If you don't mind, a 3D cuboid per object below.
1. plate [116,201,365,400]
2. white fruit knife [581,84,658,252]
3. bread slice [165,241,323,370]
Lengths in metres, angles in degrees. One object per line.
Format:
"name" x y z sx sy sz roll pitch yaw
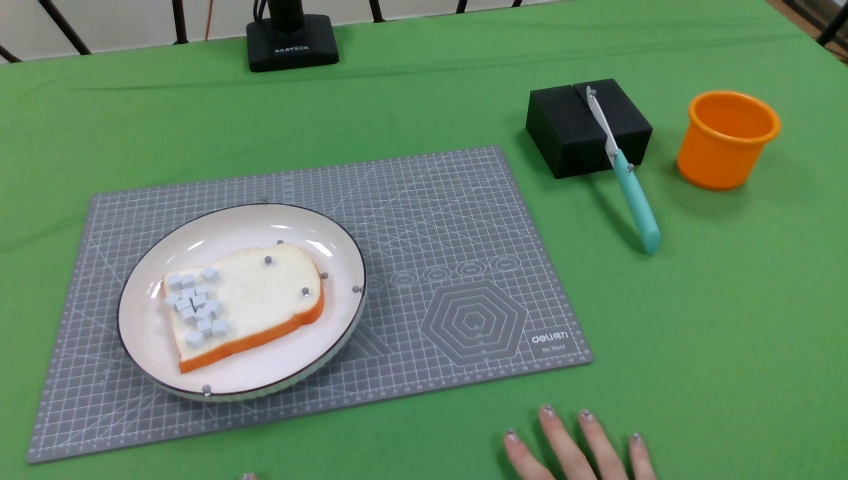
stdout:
"plate" -0.155 0.050 0.531 0.209 0.038 0.207 1 48 0
"white fruit knife" 0.198 -0.084 0.630 0.016 0.027 0.205 -10 63 -9
"bread slice" -0.158 0.048 0.537 0.132 0.019 0.103 -21 52 -16
